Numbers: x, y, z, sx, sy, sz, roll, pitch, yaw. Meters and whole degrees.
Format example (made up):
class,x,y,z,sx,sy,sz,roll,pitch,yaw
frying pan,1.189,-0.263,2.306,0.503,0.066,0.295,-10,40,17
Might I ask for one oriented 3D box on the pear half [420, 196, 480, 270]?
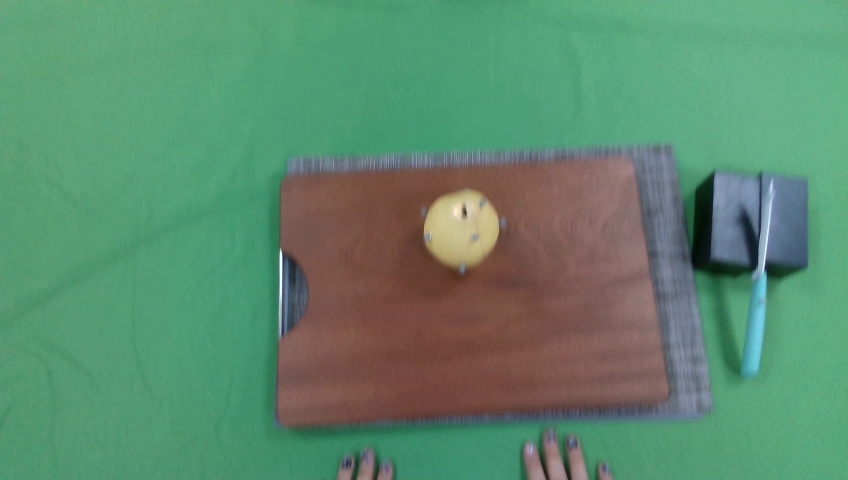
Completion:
class,x,y,z,sx,sy,sz,roll,pitch,yaw
pear half,0.024,-0.008,0.611,0.056,0.110,0.076,-24,71,-6

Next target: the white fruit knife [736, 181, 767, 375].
class,x,y,z,sx,sy,sz,roll,pitch,yaw
white fruit knife,0.344,0.042,0.631,0.016,0.027,0.207,4,95,9

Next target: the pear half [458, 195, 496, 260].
class,x,y,z,sx,sy,sz,roll,pitch,yaw
pear half,0.057,-0.018,0.624,0.031,0.088,0.070,-24,70,-6
